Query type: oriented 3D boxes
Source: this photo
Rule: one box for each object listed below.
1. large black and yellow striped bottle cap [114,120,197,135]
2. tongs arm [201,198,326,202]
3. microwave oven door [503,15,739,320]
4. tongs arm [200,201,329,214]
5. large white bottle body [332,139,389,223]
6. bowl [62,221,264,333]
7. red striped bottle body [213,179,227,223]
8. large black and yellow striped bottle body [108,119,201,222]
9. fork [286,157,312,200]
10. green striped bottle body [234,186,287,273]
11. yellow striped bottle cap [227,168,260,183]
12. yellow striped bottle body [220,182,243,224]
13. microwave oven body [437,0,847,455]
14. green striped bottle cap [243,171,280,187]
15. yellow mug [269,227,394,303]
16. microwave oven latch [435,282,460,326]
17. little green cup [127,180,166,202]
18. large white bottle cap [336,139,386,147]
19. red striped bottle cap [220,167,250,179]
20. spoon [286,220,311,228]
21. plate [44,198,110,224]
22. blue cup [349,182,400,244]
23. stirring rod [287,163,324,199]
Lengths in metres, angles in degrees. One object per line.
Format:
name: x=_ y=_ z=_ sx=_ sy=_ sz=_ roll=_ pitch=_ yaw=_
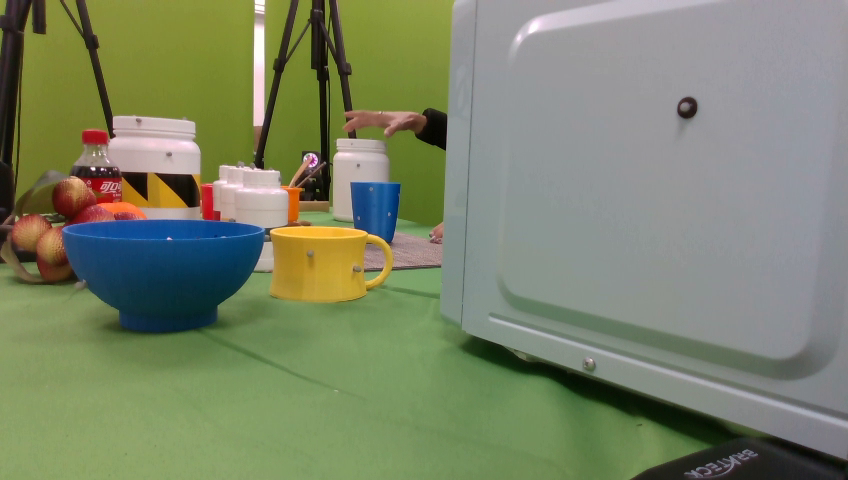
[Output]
large black and yellow striped bottle cap: x=-0.407 y=-0.171 z=0.920 sx=0.115 sy=0.019 sz=0.115 roll=2 pitch=9 yaw=0
tongs arm: x=-0.433 y=-0.090 z=1.508 sx=0.390 sy=0.028 sz=0.028 roll=0 pitch=2 yaw=-29
microwave oven door: x=0.218 y=-0.065 z=0.600 sx=0.358 sy=0.243 sz=0.039 roll=-4 pitch=10 yaw=-41
tongs arm: x=-0.378 y=-0.079 z=1.440 sx=0.387 sy=0.026 sz=0.050 roll=-3 pitch=8 yaw=-44
large white bottle body: x=-0.146 y=-0.136 z=1.387 sx=0.131 sy=0.184 sz=0.130 roll=2 pitch=7 yaw=0
bowl: x=-0.209 y=0.029 z=0.496 sx=0.151 sy=0.077 sz=0.151 roll=2 pitch=7 yaw=0
red striped bottle body: x=-0.284 y=-0.048 z=0.909 sx=0.063 sy=0.119 sz=0.063 roll=3 pitch=12 yaw=0
large black and yellow striped bottle body: x=-0.412 y=-0.088 z=0.930 sx=0.131 sy=0.184 sz=0.130 roll=3 pitch=7 yaw=0
fork: x=-0.289 y=-0.116 z=1.321 sx=0.028 sy=0.019 sz=0.207 roll=6 pitch=51 yaw=19
green striped bottle body: x=-0.200 y=-0.023 z=0.743 sx=0.063 sy=0.119 sz=0.063 roll=2 pitch=7 yaw=0
yellow striped bottle cap: x=-0.243 y=-0.087 z=0.818 sx=0.044 sy=0.018 sz=0.044 roll=3 pitch=6 yaw=0
yellow striped bottle body: x=-0.246 y=-0.036 z=0.825 sx=0.063 sy=0.120 sz=0.063 roll=3 pitch=8 yaw=0
microwave oven body: x=0.280 y=-0.039 z=0.464 sx=0.444 sy=0.260 sz=0.324 roll=-3 pitch=8 yaw=-41
green striped bottle cap: x=-0.198 y=-0.074 z=0.736 sx=0.044 sy=0.020 sz=0.044 roll=1 pitch=7 yaw=0
yellow mug: x=-0.094 y=0.023 z=0.629 sx=0.131 sy=0.064 sz=0.099 roll=0 pitch=6 yaw=-21
microwave oven latch: x=0.044 y=0.046 z=0.470 sx=0.079 sy=0.029 sz=0.030 roll=-3 pitch=8 yaw=-40
little green cup: x=-0.485 y=-0.086 z=1.061 sx=0.061 sy=0.038 sz=0.061 roll=1 pitch=7 yaw=0
large white bottle cap: x=-0.143 y=-0.219 z=1.374 sx=0.115 sy=0.018 sz=0.115 roll=2 pitch=8 yaw=0
red striped bottle cap: x=-0.281 y=-0.100 z=0.901 sx=0.044 sy=0.017 sz=0.044 roll=-1 pitch=5 yaw=0
spoon: x=-0.232 y=-0.027 z=1.116 sx=0.041 sy=0.021 sz=0.193 roll=-22 pitch=6 yaw=4
plate: x=-0.617 y=-0.056 z=1.179 sx=0.209 sy=0.038 sz=0.209 roll=3 pitch=7 yaw=0
blue cup: x=-0.082 y=-0.047 z=1.010 sx=0.093 sy=0.100 sz=0.092 roll=1 pitch=6 yaw=0
stirring rod: x=-0.278 y=-0.105 z=1.294 sx=0.176 sy=0.006 sz=0.014 roll=-47 pitch=25 yaw=-18
